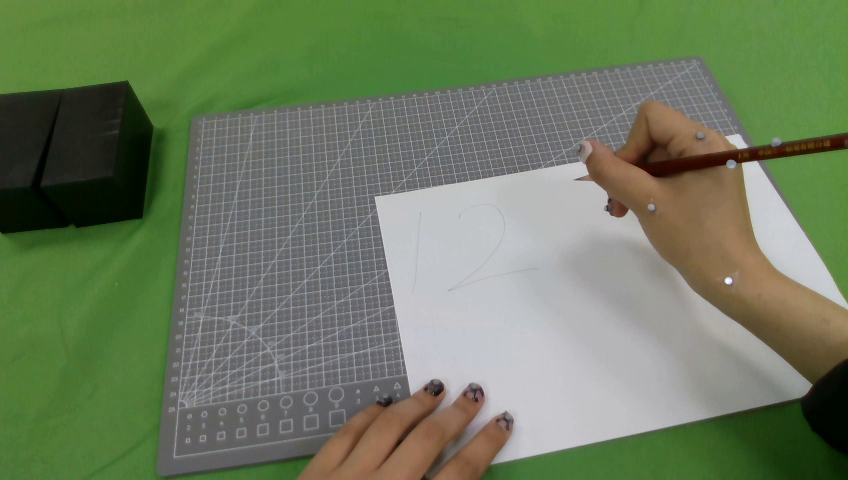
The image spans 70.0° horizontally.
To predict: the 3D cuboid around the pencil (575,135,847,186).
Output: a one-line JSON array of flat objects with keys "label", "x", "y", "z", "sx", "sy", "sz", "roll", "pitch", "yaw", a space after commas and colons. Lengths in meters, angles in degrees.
[{"label": "pencil", "x": 0.157, "y": -0.042, "z": 0.331, "sx": 0.012, "sy": 0.012, "sz": 0.193, "roll": -49, "pitch": 24, "yaw": -26}]
